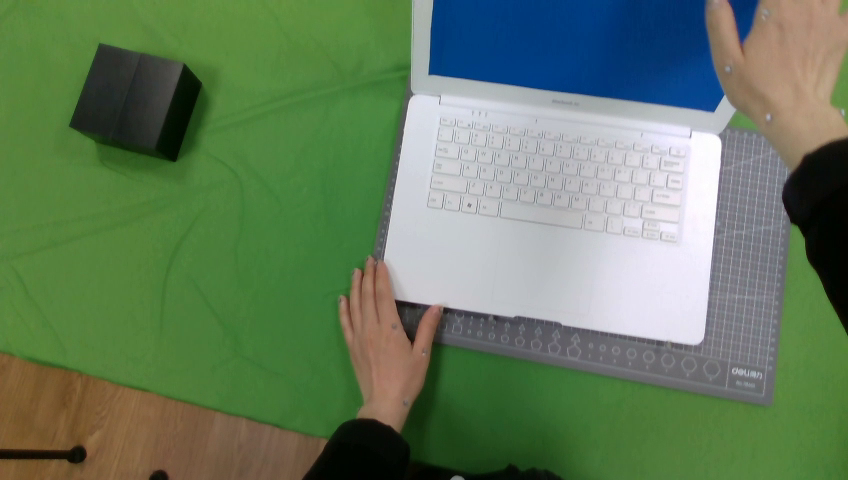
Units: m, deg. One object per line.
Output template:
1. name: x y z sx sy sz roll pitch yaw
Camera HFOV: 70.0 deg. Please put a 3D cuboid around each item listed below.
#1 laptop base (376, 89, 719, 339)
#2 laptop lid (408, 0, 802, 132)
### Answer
1. laptop base: 0.138 -0.031 0.672 0.354 0.023 0.235 8 85 2
2. laptop lid: 0.160 -0.210 0.589 0.356 0.243 0.013 7 57 3
